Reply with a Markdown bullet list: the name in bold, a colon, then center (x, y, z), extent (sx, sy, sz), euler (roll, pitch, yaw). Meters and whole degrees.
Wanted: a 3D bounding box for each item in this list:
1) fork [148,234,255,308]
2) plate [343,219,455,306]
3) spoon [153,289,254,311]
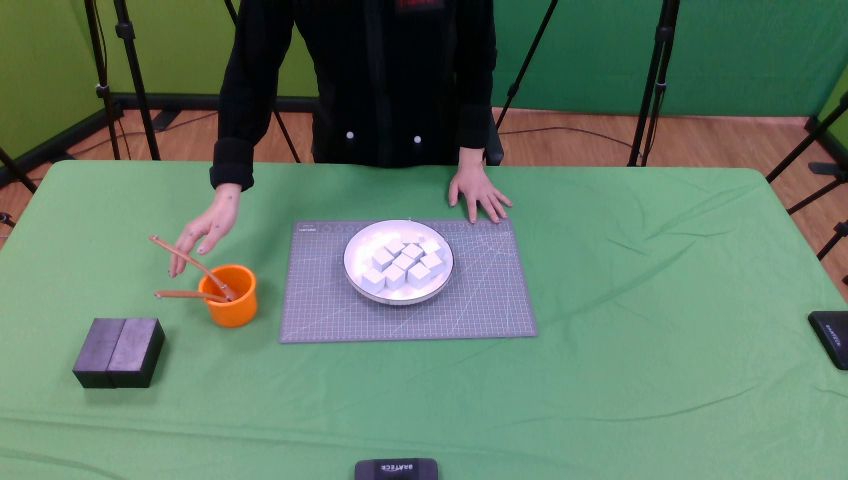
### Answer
- **fork**: center (-0.372, 0.054, 1.020), extent (0.208, 0.018, 0.028), euler (43, 22, -22)
- **plate**: center (-0.047, 0.045, 1.136), extent (0.208, 0.039, 0.206), euler (2, 46, -2)
- **spoon**: center (-0.355, 0.094, 0.990), extent (0.021, 0.195, 0.041), euler (-47, 60, 11)
